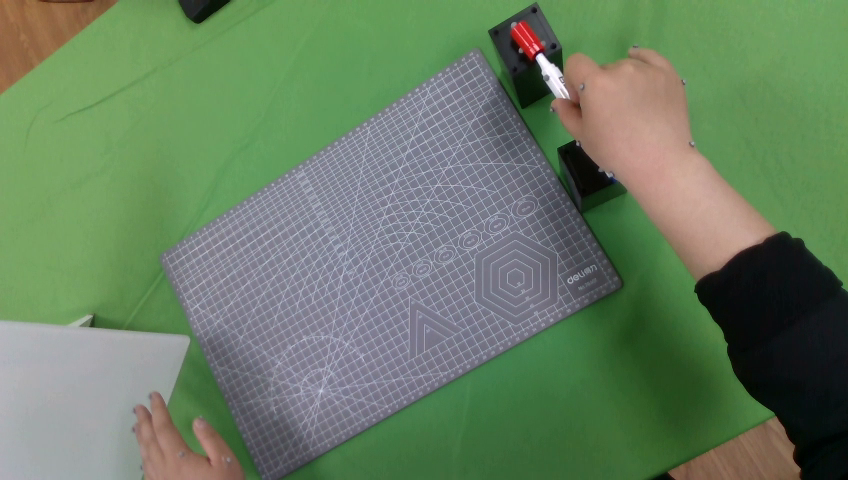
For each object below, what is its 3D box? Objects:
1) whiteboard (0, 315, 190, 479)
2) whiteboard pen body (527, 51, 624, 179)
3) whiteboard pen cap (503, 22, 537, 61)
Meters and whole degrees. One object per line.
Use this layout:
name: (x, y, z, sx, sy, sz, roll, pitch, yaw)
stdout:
whiteboard: (-0.446, 0.169, 0.631, 0.142, 0.308, 0.217, 21, 91, 34)
whiteboard pen body: (0.128, -0.112, 0.527, 0.017, 0.017, 0.140, -35, 80, 9)
whiteboard pen cap: (0.086, -0.177, 0.540, 0.017, 0.017, 0.032, -36, 80, 9)
